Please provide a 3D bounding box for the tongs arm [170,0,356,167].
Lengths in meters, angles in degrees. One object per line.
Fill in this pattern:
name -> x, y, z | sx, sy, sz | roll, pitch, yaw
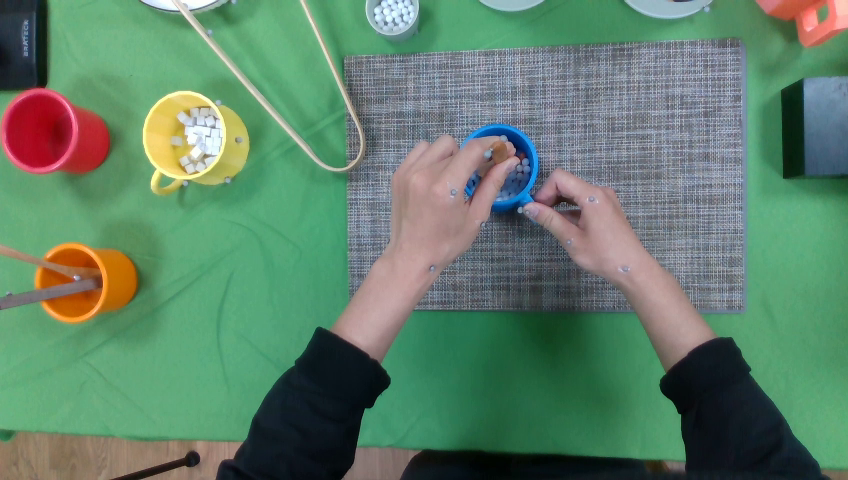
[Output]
tongs arm -> -0.220, -0.228, 0.699 | 0.051, 0.026, 0.385 | -39, 94, 2

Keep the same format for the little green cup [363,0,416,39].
little green cup -> -0.037, -0.263, 0.698 | 0.061, 0.038, 0.061 | 0, 92, 6

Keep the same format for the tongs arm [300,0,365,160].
tongs arm -> -0.150, -0.275, 0.693 | 0.028, 0.027, 0.388 | -25, 95, -2

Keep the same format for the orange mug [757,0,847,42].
orange mug -> 0.400, -0.273, 0.620 | 0.083, 0.101, 0.126 | -10, 85, 7

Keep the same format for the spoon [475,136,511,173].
spoon -> 0.065, -0.076, 0.544 | 0.041, 0.193, 0.021 | -27, 93, 6

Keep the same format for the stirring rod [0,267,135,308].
stirring rod -> -0.428, 0.058, 0.696 | 0.177, 0.006, 0.014 | -15, 84, -35

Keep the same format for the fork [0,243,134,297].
fork -> -0.438, 0.023, 0.691 | 0.209, 0.018, 0.028 | 27, 89, -38

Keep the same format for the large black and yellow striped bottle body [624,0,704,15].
large black and yellow striped bottle body -> 0.259, -0.315, 0.591 | 0.130, 0.184, 0.130 | 0, 90, 7

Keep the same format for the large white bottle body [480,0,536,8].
large white bottle body -> 0.088, -0.330, 0.609 | 0.130, 0.185, 0.130 | 0, 90, 7

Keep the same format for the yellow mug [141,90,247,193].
yellow mug -> -0.278, -0.107, 0.713 | 0.100, 0.064, 0.131 | 38, 96, 4

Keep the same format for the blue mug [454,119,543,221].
blue mug -> 0.087, -0.066, 0.650 | 0.082, 0.106, 0.116 | -41, 87, 5

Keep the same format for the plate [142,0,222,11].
plate -> -0.283, -0.375, 0.722 | 0.207, 0.039, 0.207 | 0, 92, 6
